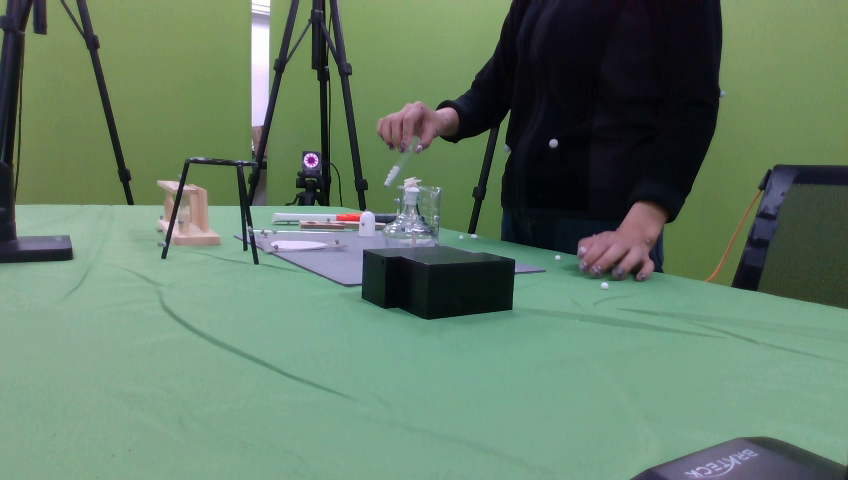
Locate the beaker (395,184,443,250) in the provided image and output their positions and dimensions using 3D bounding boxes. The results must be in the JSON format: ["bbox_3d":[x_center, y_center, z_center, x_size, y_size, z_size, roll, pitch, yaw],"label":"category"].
[{"bbox_3d":[-0.007,-0.037,0.965,0.074,0.100,0.083,-4,11,-40],"label":"beaker"}]

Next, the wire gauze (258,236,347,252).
[{"bbox_3d":[-0.189,0.005,0.931,0.122,0.011,0.124,1,7,-21],"label":"wire gauze"}]

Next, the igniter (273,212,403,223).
[{"bbox_3d":[-0.179,-0.048,1.290,0.278,0.025,0.057,-1,-2,-24],"label":"igniter"}]

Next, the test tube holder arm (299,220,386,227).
[{"bbox_3d":[-0.159,-0.032,1.196,0.179,0.015,0.013,-2,45,-29],"label":"test tube holder arm"}]

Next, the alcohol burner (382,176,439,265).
[{"bbox_3d":[-0.018,-0.027,0.818,0.078,0.119,0.078,3,10,0],"label":"alcohol burner"}]

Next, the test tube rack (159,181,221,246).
[{"bbox_3d":[-0.395,-0.050,1.010,0.067,0.085,0.241,-2,8,-28],"label":"test tube rack"}]

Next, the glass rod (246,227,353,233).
[{"bbox_3d":[-0.224,-0.017,1.109,0.201,0.008,0.008,1,7,-27],"label":"glass rod"}]

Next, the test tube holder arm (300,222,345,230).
[{"bbox_3d":[-0.196,-0.027,1.170,0.088,0.015,0.010,-1,44,-29],"label":"test tube holder arm"}]

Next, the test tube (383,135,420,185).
[{"bbox_3d":[-0.041,-0.134,1.039,0.017,0.017,0.150,-1,-23,-25],"label":"test tube"}]

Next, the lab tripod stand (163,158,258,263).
[{"bbox_3d":[-0.265,-0.041,0.802,0.148,0.131,0.148,4,7,0],"label":"lab tripod stand"}]

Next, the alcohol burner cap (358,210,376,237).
[{"bbox_3d":[-0.104,-0.030,1.098,0.034,0.048,0.034,2,7,0],"label":"alcohol burner cap"}]
